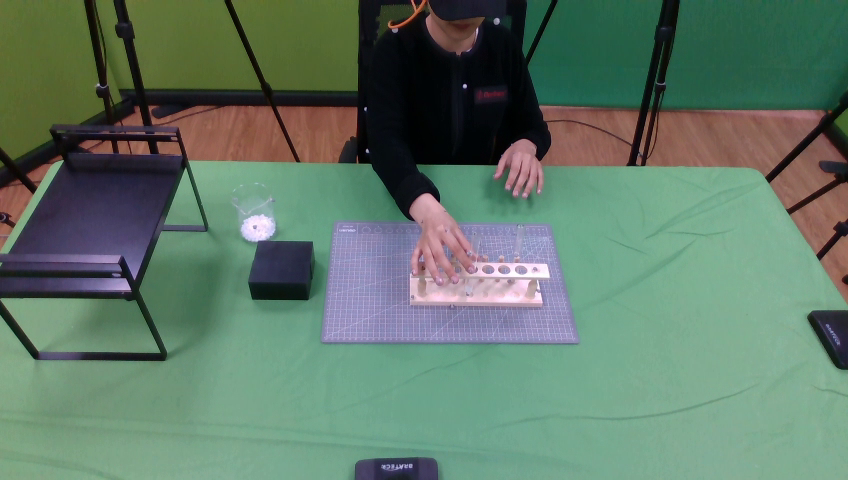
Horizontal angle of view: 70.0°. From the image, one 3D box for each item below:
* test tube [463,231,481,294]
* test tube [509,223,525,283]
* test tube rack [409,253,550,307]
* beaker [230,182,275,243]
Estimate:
[{"bbox_3d":[0.082,0.042,1.038,0.017,0.151,0.017,2,46,-2],"label":"test tube"},{"bbox_3d":[0.165,0.024,1.077,0.017,0.151,0.017,-1,47,1],"label":"test tube"},{"bbox_3d":[0.095,0.067,1.093,0.242,0.085,0.066,1,46,-3],"label":"test tube rack"},{"bbox_3d":[-0.328,-0.049,1.166,0.074,0.101,0.083,2,47,-2],"label":"beaker"}]
